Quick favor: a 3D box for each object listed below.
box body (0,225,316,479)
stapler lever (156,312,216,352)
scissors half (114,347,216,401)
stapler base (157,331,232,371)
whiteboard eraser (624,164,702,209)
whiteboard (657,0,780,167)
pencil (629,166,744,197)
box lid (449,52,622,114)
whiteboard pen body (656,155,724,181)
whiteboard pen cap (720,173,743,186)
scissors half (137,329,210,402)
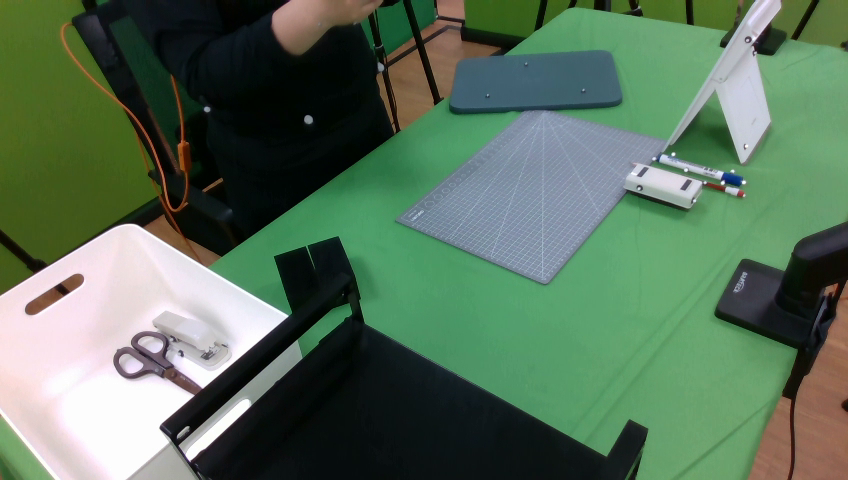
[{"bbox_3d":[-0.339,0.162,0.728,0.361,0.161,0.255,23,48,31],"label":"box body"},{"bbox_3d":[-0.331,0.122,0.835,0.117,0.040,0.027,17,43,33],"label":"stapler lever"},{"bbox_3d":[-0.349,0.185,0.811,0.174,0.013,0.040,15,53,19],"label":"scissors half"},{"bbox_3d":[-0.326,0.142,0.849,0.129,0.024,0.041,18,43,32],"label":"stapler base"},{"bbox_3d":[0.396,-0.087,1.003,0.112,0.042,0.056,22,47,31],"label":"whiteboard eraser"},{"bbox_3d":[0.571,-0.272,1.038,0.143,0.306,0.218,37,54,17],"label":"whiteboard"},{"bbox_3d":[0.447,-0.103,1.038,0.192,0.012,0.012,21,48,29],"label":"pencil"},{"bbox_3d":[0.249,-0.358,1.370,0.371,0.015,0.262,-1,40,9],"label":"box lid"},{"bbox_3d":[0.475,-0.123,1.052,0.139,0.017,0.017,24,49,32],"label":"whiteboard pen body"},{"bbox_3d":[0.519,-0.103,1.020,0.033,0.018,0.018,23,49,30],"label":"whiteboard pen cap"},{"bbox_3d":[-0.336,0.172,0.822,0.040,0.013,0.174,-36,54,-29],"label":"scissors half"}]
